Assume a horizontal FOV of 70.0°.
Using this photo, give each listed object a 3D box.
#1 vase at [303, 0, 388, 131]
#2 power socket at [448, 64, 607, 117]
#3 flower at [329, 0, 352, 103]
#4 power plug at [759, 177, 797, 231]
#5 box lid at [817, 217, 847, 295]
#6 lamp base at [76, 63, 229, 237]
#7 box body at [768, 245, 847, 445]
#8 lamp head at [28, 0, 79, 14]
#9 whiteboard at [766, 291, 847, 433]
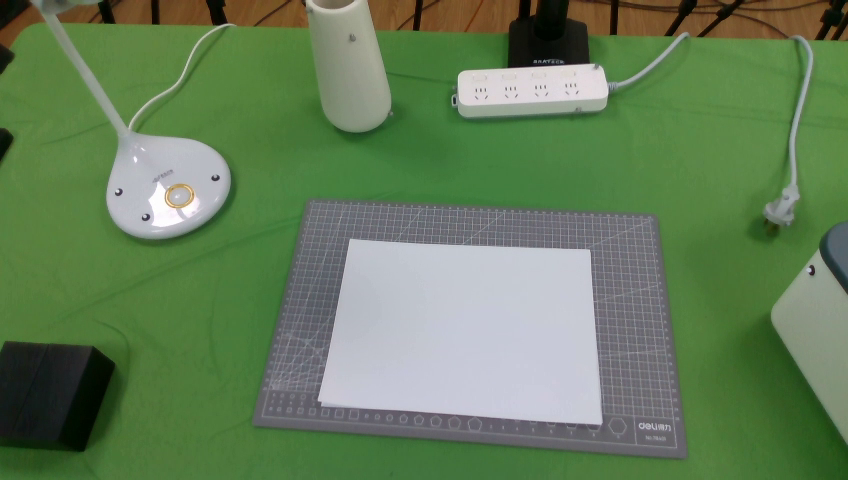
[{"bbox_3d":[-0.104,-0.236,0.793,0.098,0.202,0.097,-2,58,3],"label":"vase"},{"bbox_3d":[0.148,-0.214,0.865,0.227,0.033,0.071,-2,59,1],"label":"power socket"},{"bbox_3d":[-0.089,-0.272,0.718,0.044,0.363,0.038,-34,79,-27],"label":"flower"},{"bbox_3d":[0.438,-0.040,0.741,0.073,0.053,0.035,-24,54,-36],"label":"power plug"},{"bbox_3d":[0.529,0.103,0.486,0.263,0.015,0.367,-16,59,-6],"label":"box lid"},{"bbox_3d":[-0.354,-0.119,0.743,0.178,0.182,0.160,32,65,24],"label":"lamp base"},{"bbox_3d":[0.533,0.145,0.548,0.254,0.162,0.360,-15,59,-7],"label":"box body"},{"bbox_3d":[-0.319,-0.265,0.491,0.123,0.112,0.112,43,63,-16],"label":"lamp head"},{"bbox_3d":[0.534,0.140,0.566,0.217,0.145,0.302,-15,58,-10],"label":"whiteboard"}]
